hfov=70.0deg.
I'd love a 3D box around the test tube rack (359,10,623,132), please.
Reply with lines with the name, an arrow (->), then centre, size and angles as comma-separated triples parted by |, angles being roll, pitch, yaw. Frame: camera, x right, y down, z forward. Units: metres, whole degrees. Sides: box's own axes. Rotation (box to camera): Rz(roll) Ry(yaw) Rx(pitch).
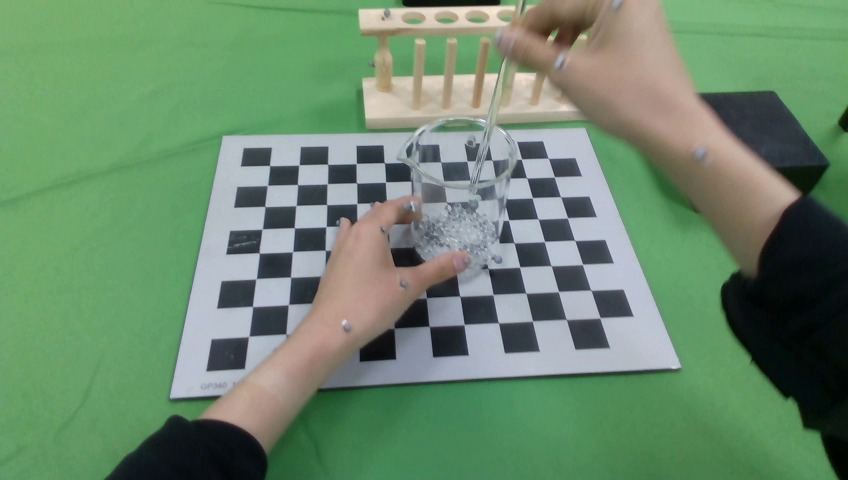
test tube rack -> 0.062, -0.161, 0.577 | 0.243, 0.086, 0.066 | -3, 49, -6

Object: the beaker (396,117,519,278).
beaker -> 0.022, -0.027, 0.444 | 0.084, 0.101, 0.073 | -1, 49, -3

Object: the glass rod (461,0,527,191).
glass rod -> 0.047, -0.106, 0.367 | 0.008, 0.201, 0.008 | 7, 45, -7
